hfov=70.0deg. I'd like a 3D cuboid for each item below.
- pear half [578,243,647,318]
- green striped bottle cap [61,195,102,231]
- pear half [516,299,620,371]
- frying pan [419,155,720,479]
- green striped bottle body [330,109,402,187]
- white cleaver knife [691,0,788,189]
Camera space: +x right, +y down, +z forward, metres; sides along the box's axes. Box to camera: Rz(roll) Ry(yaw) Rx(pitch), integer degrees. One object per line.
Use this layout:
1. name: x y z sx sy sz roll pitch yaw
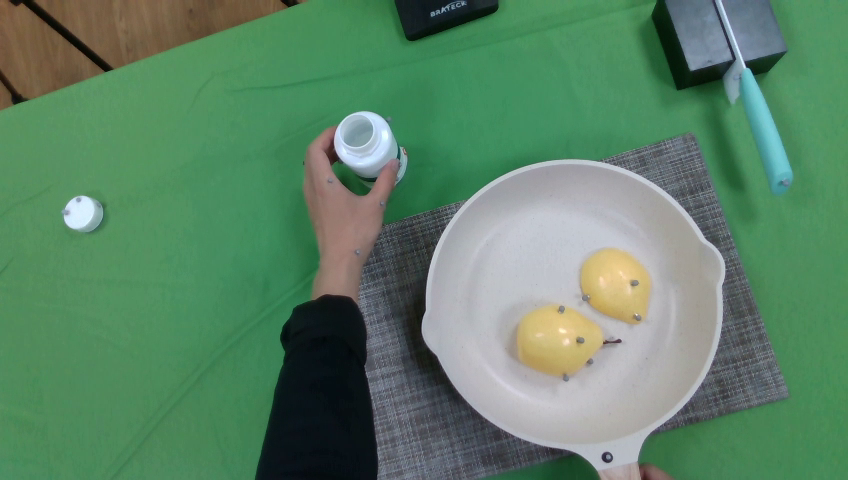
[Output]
1. pear half: 0.206 0.044 0.652 0.070 0.031 0.087 -32 75 6
2. green striped bottle cap: -0.429 -0.034 0.758 0.044 0.020 0.044 -1 80 8
3. pear half: 0.153 0.100 0.639 0.110 0.056 0.076 -4 86 5
4. frying pan: 0.168 0.155 0.604 0.307 0.103 0.484 -15 71 6
5. green striped bottle body: -0.064 -0.103 0.670 0.063 0.120 0.063 -1 80 7
6. white cleaver knife: 0.334 -0.190 0.659 0.021 0.066 0.285 -15 77 10
